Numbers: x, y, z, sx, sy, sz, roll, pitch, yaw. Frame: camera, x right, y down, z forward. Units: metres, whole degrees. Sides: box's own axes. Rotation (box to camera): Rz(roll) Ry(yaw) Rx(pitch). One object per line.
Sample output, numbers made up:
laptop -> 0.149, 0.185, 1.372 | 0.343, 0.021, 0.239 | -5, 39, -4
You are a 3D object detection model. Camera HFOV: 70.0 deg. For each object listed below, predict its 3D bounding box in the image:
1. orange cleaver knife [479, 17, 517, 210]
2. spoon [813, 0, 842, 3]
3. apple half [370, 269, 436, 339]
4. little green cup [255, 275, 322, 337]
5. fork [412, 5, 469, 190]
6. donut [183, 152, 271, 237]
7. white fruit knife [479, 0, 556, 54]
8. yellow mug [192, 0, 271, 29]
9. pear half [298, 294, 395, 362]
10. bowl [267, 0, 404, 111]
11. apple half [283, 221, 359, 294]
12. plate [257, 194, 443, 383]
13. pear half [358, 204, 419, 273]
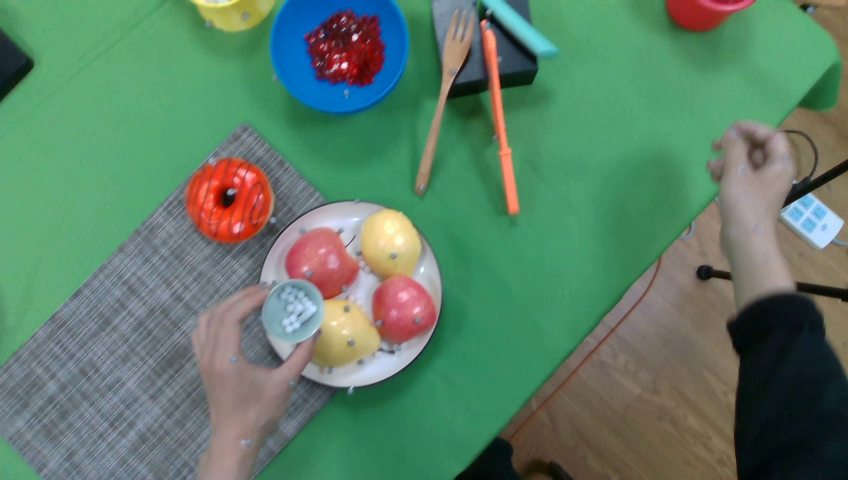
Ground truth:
orange cleaver knife -> 0.082, -0.140, 0.680 | 0.012, 0.076, 0.213 | -10, 111, 5
spoon -> 0.350, -0.274, 0.656 | 0.041, 0.022, 0.191 | -52, 43, -3
apple half -> -0.031, 0.073, 0.667 | 0.081, 0.033, 0.081 | 3, 101, 19
little green cup -> -0.135, 0.063, 0.595 | 0.062, 0.038, 0.061 | -2, 93, -31
fork -> 0.015, -0.154, 0.680 | 0.028, 0.018, 0.208 | 12, 106, -6
donut -> -0.224, -0.052, 0.692 | 0.099, 0.048, 0.099 | 0, 88, 2
white fruit knife -> 0.064, -0.278, 0.674 | 0.207, 0.016, 0.027 | 45, 58, 5
yellow mug -> -0.248, -0.310, 0.704 | 0.131, 0.064, 0.100 | 11, 86, 3
pear half -> -0.084, 0.102, 0.670 | 0.110, 0.056, 0.076 | 17, 91, -2
bowl -> -0.094, -0.213, 0.690 | 0.151, 0.077, 0.151 | 0, 86, 0
apple half -> -0.118, 0.021, 0.672 | 0.074, 0.053, 0.081 | -29, 90, -1
plate -> -0.082, 0.053, 0.687 | 0.209, 0.038, 0.208 | 0, 86, 0
pear half -> -0.043, 0.005, 0.675 | 0.070, 0.031, 0.088 | -16, 97, 23
